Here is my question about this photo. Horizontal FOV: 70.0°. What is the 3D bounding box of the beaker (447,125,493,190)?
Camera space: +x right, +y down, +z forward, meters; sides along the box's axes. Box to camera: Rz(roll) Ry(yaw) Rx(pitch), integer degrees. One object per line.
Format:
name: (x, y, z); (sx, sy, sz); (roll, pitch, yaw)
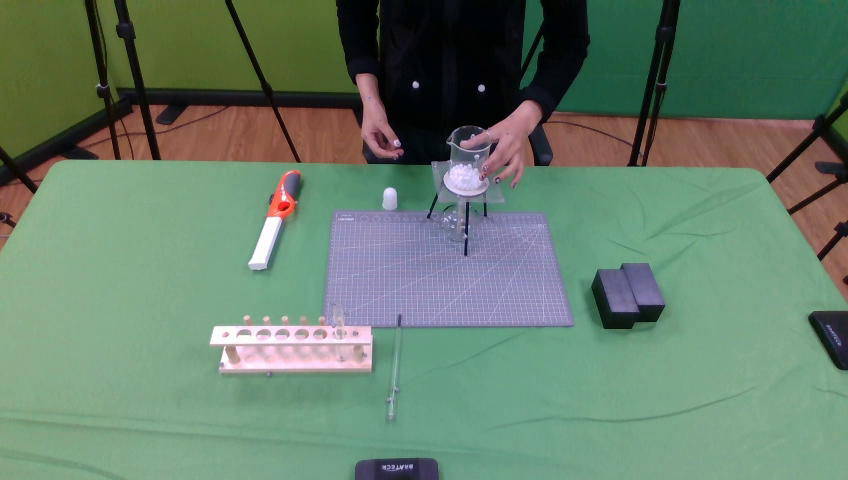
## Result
beaker: (0.079, -0.148, 1.106); (0.084, 0.101, 0.073); (-3, 47, -7)

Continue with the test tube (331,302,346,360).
test tube: (-0.132, 0.144, 0.938); (0.017, 0.151, 0.017); (2, 49, -3)

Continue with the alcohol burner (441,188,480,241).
alcohol burner: (0.073, -0.055, 1.189); (0.078, 0.120, 0.077); (1, 48, -1)

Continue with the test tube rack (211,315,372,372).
test tube rack: (-0.208, 0.163, 0.982); (0.242, 0.085, 0.066); (1, 46, -4)

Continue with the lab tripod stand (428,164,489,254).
lab tripod stand: (0.078, -0.068, 1.188); (0.148, 0.132, 0.147); (3, 47, -3)

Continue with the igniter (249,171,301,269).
igniter: (-0.297, -0.049, 1.220); (0.057, 0.025, 0.275); (-1, 45, 9)

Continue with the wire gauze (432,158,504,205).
wire gauze: (0.081, -0.111, 1.138); (0.125, 0.011, 0.120); (0, 48, -7)

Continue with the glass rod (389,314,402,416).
glass rod: (-0.048, 0.203, 1.008); (0.008, 0.008, 0.198); (4, 45, 0)

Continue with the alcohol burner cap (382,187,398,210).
alcohol burner cap: (-0.072, -0.090, 1.266); (0.034, 0.048, 0.033); (2, 47, -2)
